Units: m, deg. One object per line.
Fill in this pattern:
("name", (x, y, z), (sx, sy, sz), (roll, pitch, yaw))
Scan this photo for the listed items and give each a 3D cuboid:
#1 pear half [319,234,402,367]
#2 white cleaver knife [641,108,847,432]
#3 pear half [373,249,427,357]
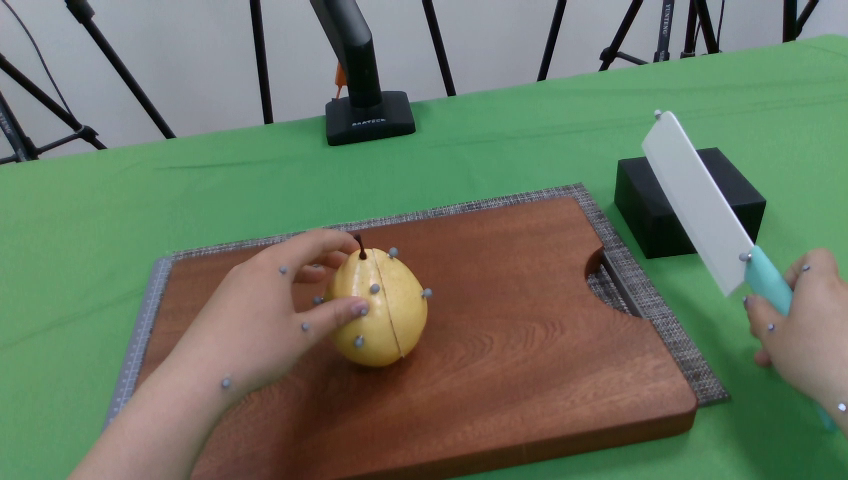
("pear half", (-0.051, 0.043, 0.441), (0.056, 0.111, 0.075), (-14, 34, -9))
("white cleaver knife", (0.243, 0.011, 0.479), (0.021, 0.066, 0.283), (-11, 59, -7))
("pear half", (-0.015, 0.043, 0.451), (0.031, 0.089, 0.069), (-15, 30, -9))
